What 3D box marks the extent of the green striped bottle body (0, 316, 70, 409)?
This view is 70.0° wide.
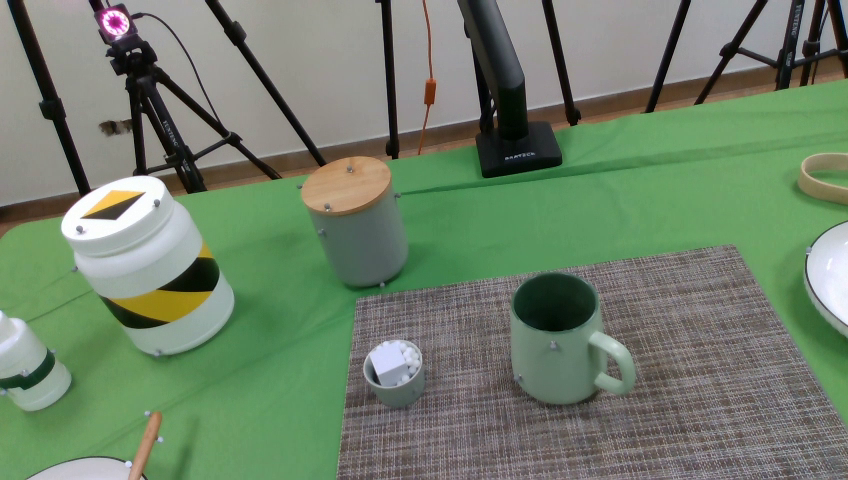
[{"bbox_3d":[-0.464,0.133,0.686,0.063,0.120,0.062,-8,40,7],"label":"green striped bottle body"}]

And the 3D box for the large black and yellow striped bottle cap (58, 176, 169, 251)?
[{"bbox_3d":[-0.338,-0.032,0.662,0.115,0.019,0.114,-8,39,7],"label":"large black and yellow striped bottle cap"}]

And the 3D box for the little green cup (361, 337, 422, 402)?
[{"bbox_3d":[-0.031,0.134,0.621,0.061,0.039,0.061,-7,39,6],"label":"little green cup"}]

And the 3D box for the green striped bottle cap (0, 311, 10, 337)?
[{"bbox_3d":[-0.474,0.094,0.653,0.044,0.020,0.044,-5,42,5],"label":"green striped bottle cap"}]

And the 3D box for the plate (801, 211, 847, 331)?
[{"bbox_3d":[0.484,0.043,0.589,0.207,0.039,0.205,-8,40,7],"label":"plate"}]

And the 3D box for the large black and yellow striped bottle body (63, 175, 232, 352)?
[{"bbox_3d":[-0.323,0.029,0.717,0.130,0.186,0.129,-8,41,7],"label":"large black and yellow striped bottle body"}]

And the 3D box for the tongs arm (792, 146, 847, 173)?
[{"bbox_3d":[0.642,-0.080,0.688,0.382,0.027,0.050,9,50,26],"label":"tongs arm"}]

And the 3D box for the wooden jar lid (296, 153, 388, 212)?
[{"bbox_3d":[-0.095,-0.064,0.711,0.108,0.021,0.107,-7,43,7],"label":"wooden jar lid"}]

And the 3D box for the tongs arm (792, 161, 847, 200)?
[{"bbox_3d":[0.604,-0.027,0.644,0.384,0.028,0.028,20,59,34],"label":"tongs arm"}]

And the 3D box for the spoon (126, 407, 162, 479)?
[{"bbox_3d":[-0.268,0.237,0.549,0.041,0.022,0.192,-6,49,6],"label":"spoon"}]

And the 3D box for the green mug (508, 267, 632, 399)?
[{"bbox_3d":[0.137,0.095,0.568,0.124,0.106,0.092,26,54,38],"label":"green mug"}]

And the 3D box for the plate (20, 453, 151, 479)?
[{"bbox_3d":[-0.327,0.289,0.530,0.209,0.038,0.207,-8,40,7],"label":"plate"}]

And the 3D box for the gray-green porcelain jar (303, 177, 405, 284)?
[{"bbox_3d":[-0.083,-0.018,0.751,0.106,0.128,0.105,-8,40,7],"label":"gray-green porcelain jar"}]
